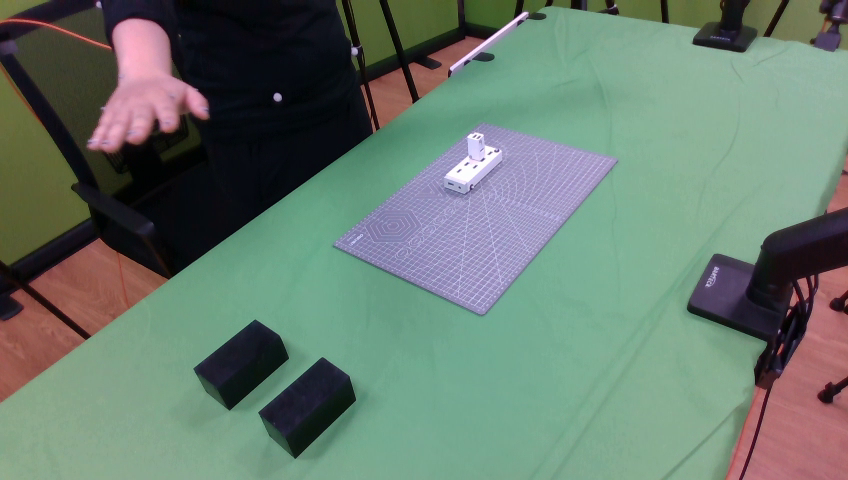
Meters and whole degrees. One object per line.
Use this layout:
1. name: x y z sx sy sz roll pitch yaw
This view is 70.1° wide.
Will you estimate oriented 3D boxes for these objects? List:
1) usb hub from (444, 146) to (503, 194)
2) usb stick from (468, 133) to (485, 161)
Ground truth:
1. usb hub: 0.091 -0.129 1.102 0.049 0.025 0.125 23 49 30
2. usb stick: 0.095 -0.162 1.096 0.027 0.059 0.021 21 48 26
